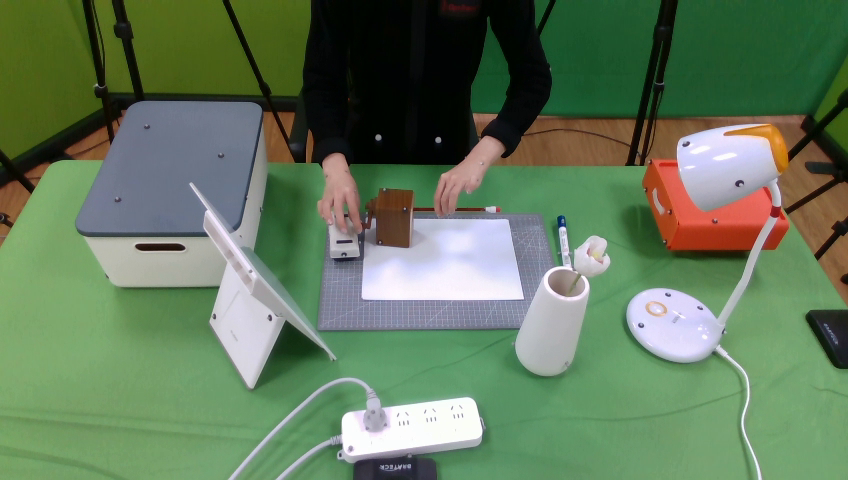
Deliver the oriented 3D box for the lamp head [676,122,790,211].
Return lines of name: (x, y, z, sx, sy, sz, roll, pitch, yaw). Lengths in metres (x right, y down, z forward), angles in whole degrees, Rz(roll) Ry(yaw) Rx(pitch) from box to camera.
lamp head: (0.423, -0.104, 0.819, 0.122, 0.113, 0.112, -13, 33, 40)

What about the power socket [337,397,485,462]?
power socket: (-0.018, 0.285, 0.915, 0.227, 0.033, 0.071, -5, 46, -8)

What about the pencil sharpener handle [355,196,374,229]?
pencil sharpener handle: (-0.112, -0.052, 1.146, 0.030, 0.036, 0.067, 5, 69, 1)

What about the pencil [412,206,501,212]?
pencil: (0.049, -0.058, 1.152, 0.194, 0.012, 0.012, 0, 46, 1)

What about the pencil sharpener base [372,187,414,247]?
pencil sharpener base: (-0.061, -0.043, 1.171, 0.077, 0.107, 0.061, 5, 46, 1)

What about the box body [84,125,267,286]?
box body: (-0.446, -0.088, 1.150, 0.254, 0.161, 0.361, -1, 46, -5)

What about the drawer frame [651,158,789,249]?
drawer frame: (0.571, -0.075, 1.214, 0.214, 0.083, 0.200, 0, 46, -1)

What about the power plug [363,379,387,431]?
power plug: (-0.072, 0.252, 0.910, 0.035, 0.053, 0.072, 3, 45, -1)

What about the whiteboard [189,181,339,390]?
whiteboard: (-0.292, 0.096, 0.929, 0.144, 0.307, 0.216, -37, 57, -10)

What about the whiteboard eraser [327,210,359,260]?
whiteboard eraser: (-0.159, -0.009, 1.177, 0.055, 0.042, 0.112, -6, 47, -7)

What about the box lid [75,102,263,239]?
box lid: (-0.443, -0.138, 1.094, 0.263, 0.015, 0.369, -1, 47, -5)

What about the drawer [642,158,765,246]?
drawer: (0.565, -0.076, 1.211, 0.212, 0.073, 0.193, 2, 45, -2)

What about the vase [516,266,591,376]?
vase: (0.208, 0.132, 0.964, 0.098, 0.201, 0.097, 3, 46, -3)

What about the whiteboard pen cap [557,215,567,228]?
whiteboard pen cap: (0.284, -0.035, 1.246, 0.018, 0.018, 0.033, 4, 52, -1)

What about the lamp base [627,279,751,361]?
lamp base: (0.460, 0.100, 1.027, 0.178, 0.181, 0.160, 27, 51, 17)

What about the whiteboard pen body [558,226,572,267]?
whiteboard pen body: (0.280, 0.010, 1.208, 0.017, 0.017, 0.140, 3, 50, -1)

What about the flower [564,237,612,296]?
flower: (0.206, 0.088, 0.893, 0.038, 0.363, 0.044, -17, 67, -9)
